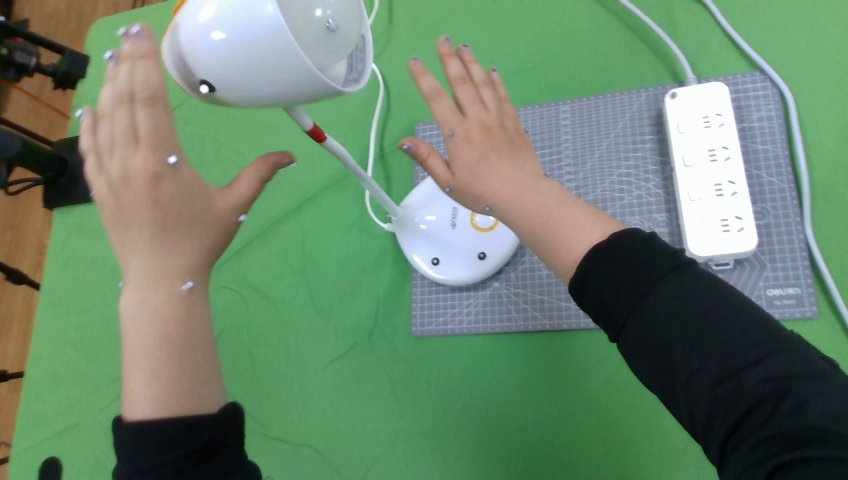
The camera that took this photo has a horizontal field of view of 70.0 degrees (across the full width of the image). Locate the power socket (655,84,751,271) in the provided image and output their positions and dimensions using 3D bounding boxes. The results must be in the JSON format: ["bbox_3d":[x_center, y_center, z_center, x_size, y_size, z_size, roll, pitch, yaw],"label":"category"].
[{"bbox_3d":[0.316,-0.078,0.692,0.072,0.033,0.225,-7,71,15],"label":"power socket"}]

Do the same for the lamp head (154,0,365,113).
[{"bbox_3d":[-0.113,-0.132,0.405,0.122,0.113,0.111,-16,68,29],"label":"lamp head"}]

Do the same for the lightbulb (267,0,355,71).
[{"bbox_3d":[-0.095,-0.135,0.388,0.107,0.060,0.059,-5,72,25],"label":"lightbulb"}]

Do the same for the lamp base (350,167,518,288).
[{"bbox_3d":[0.004,-0.037,0.699,0.179,0.182,0.159,-12,70,17],"label":"lamp base"}]
